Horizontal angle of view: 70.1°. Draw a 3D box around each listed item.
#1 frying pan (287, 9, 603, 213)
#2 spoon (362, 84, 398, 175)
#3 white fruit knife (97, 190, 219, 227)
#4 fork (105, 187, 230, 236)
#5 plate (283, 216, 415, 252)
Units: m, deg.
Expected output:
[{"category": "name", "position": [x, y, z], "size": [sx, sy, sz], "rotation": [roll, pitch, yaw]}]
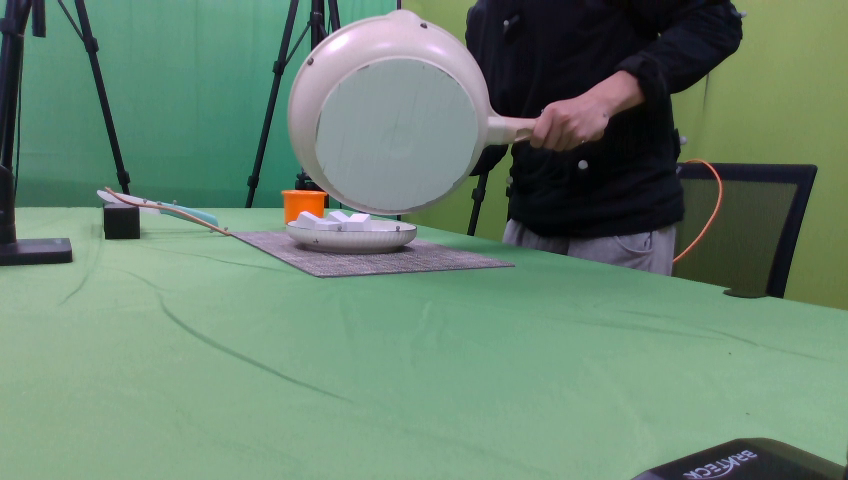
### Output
[{"category": "frying pan", "position": [0.054, -0.165, 0.884], "size": [0.490, 0.306, 0.102], "rotation": [-5, 36, -21]}, {"category": "spoon", "position": [-0.065, -0.179, 0.944], "size": [0.042, 0.193, 0.021], "rotation": [26, -41, -23]}, {"category": "white fruit knife", "position": [-0.468, -0.057, 1.079], "size": [0.208, 0.027, 0.016], "rotation": [16, -2, -29]}, {"category": "fork", "position": [-0.428, -0.047, 1.020], "size": [0.208, 0.018, 0.028], "rotation": [19, -10, -26]}, {"category": "plate", "position": [-0.119, -0.010, 0.968], "size": [0.208, 0.039, 0.207], "rotation": [3, 7, 0]}]
